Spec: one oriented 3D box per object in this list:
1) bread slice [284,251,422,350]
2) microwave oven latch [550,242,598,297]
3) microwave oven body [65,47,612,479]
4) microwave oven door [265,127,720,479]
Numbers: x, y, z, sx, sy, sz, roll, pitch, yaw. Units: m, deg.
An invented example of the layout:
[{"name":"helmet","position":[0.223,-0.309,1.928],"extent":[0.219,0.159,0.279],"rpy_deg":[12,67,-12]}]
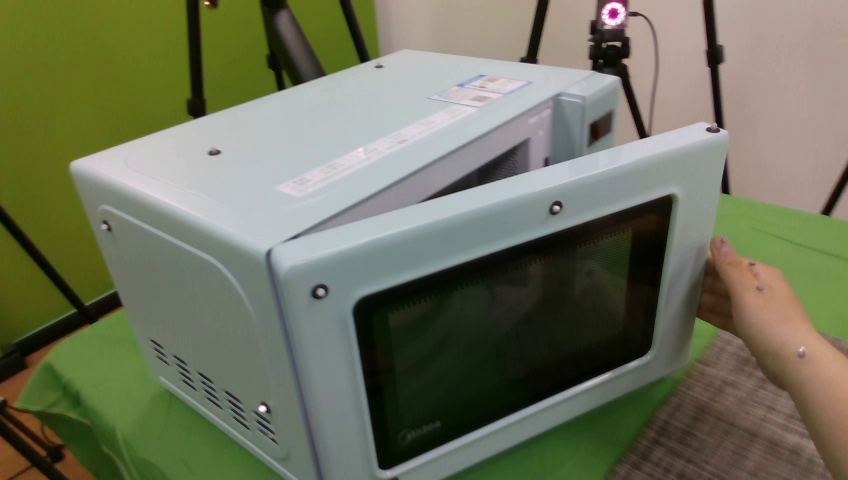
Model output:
[{"name":"bread slice","position":[-0.071,0.054,0.644],"extent":[0.131,0.019,0.104],"rpy_deg":[-31,40,-30]},{"name":"microwave oven latch","position":[0.179,0.034,0.720],"extent":[0.030,0.030,0.079],"rpy_deg":[21,39,36]},{"name":"microwave oven body","position":[-0.055,-0.011,0.640],"extent":[0.323,0.262,0.441],"rpy_deg":[19,39,35]},{"name":"microwave oven door","position":[0.075,0.065,0.476],"extent":[0.357,0.246,0.039],"rpy_deg":[-17,32,-21]}]
